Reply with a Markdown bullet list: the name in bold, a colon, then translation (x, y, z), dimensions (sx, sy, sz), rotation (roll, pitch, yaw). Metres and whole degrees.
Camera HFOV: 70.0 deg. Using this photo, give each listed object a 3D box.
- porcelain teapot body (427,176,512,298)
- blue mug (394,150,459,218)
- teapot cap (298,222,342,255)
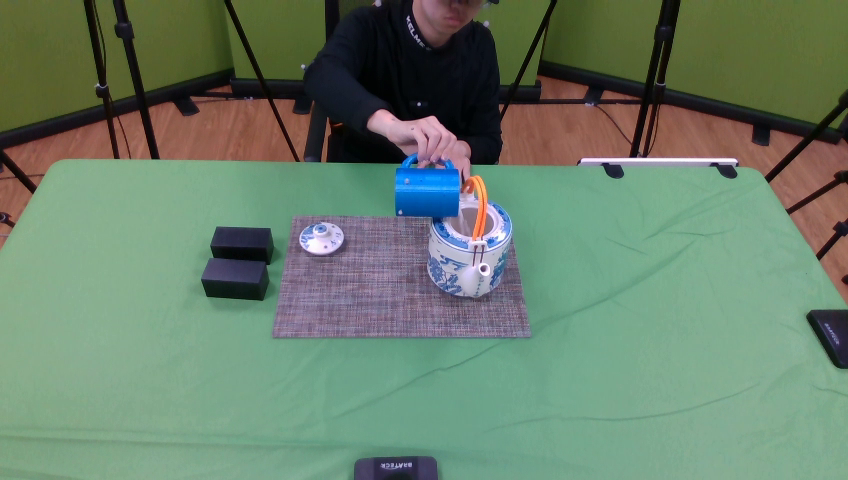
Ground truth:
- **porcelain teapot body**: translation (0.085, 0.010, 1.051), dimensions (0.145, 0.226, 0.204), rotation (-5, 47, -8)
- **blue mug**: translation (0.005, -0.096, 1.019), dimensions (0.106, 0.082, 0.116), rotation (1, 78, 0)
- **teapot cap**: translation (-0.201, -0.008, 1.171), dimensions (0.085, 0.044, 0.084), rotation (1, 47, -1)
